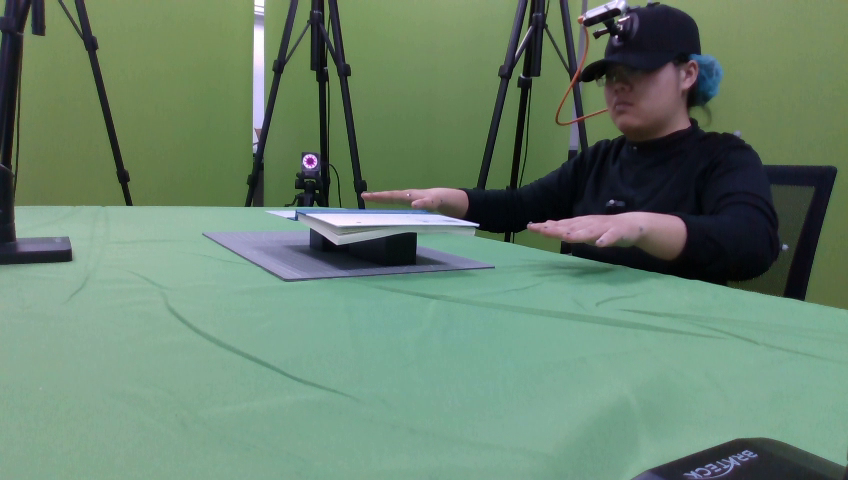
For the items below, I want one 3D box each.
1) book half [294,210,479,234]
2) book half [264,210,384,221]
[{"bbox_3d":[-0.051,-0.025,0.823,0.211,0.016,0.148,-1,9,-32],"label":"book half"},{"bbox_3d":[-0.125,-0.038,0.944,0.211,0.007,0.142,-2,9,-32],"label":"book half"}]
